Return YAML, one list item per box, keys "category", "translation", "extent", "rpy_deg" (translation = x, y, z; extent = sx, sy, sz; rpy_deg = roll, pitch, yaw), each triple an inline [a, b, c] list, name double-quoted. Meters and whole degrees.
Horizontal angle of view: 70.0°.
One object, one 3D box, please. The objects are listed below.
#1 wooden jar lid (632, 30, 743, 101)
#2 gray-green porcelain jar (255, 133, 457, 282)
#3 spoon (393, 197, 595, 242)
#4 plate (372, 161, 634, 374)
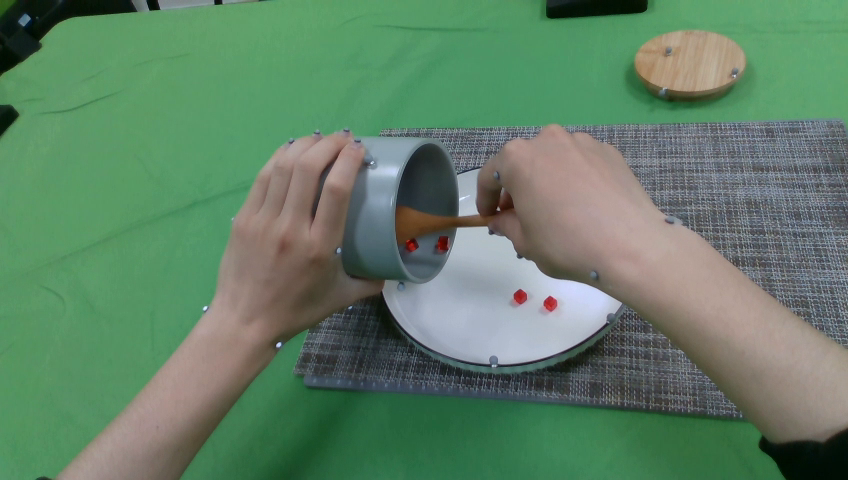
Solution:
- category: "wooden jar lid"
  translation: [0.274, -0.182, 0.635]
  extent: [0.108, 0.021, 0.107]
  rpy_deg: [-6, 51, 8]
- category: "gray-green porcelain jar"
  translation: [-0.053, -0.027, 0.459]
  extent: [0.126, 0.107, 0.105]
  rpy_deg: [7, 53, 26]
- category: "spoon"
  translation: [0.029, -0.017, 0.435]
  extent: [0.193, 0.022, 0.041]
  rpy_deg: [-3, 63, 31]
- category: "plate"
  translation: [0.062, 0.020, 0.499]
  extent: [0.207, 0.039, 0.205]
  rpy_deg: [-6, 50, 8]
